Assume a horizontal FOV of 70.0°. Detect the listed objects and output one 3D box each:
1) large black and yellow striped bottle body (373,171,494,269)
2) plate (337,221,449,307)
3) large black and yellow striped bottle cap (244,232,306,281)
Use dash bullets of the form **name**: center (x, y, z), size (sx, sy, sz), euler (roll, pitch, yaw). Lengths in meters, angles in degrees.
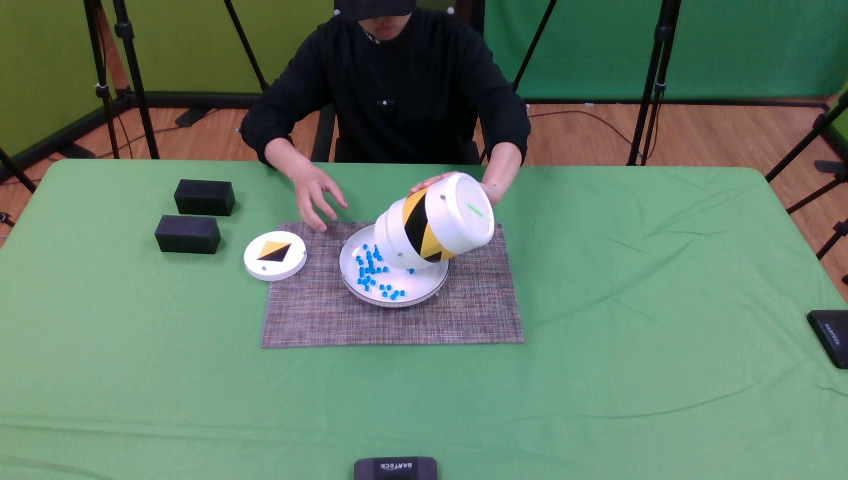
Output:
- **large black and yellow striped bottle body**: center (0.013, -0.027, 1.053), size (0.184, 0.131, 0.130), euler (-23, 34, 33)
- **plate**: center (-0.057, 0.045, 1.133), size (0.208, 0.039, 0.206), euler (2, 46, -2)
- **large black and yellow striped bottle cap**: center (-0.282, 0.030, 1.145), size (0.115, 0.019, 0.114), euler (-1, 45, 1)
